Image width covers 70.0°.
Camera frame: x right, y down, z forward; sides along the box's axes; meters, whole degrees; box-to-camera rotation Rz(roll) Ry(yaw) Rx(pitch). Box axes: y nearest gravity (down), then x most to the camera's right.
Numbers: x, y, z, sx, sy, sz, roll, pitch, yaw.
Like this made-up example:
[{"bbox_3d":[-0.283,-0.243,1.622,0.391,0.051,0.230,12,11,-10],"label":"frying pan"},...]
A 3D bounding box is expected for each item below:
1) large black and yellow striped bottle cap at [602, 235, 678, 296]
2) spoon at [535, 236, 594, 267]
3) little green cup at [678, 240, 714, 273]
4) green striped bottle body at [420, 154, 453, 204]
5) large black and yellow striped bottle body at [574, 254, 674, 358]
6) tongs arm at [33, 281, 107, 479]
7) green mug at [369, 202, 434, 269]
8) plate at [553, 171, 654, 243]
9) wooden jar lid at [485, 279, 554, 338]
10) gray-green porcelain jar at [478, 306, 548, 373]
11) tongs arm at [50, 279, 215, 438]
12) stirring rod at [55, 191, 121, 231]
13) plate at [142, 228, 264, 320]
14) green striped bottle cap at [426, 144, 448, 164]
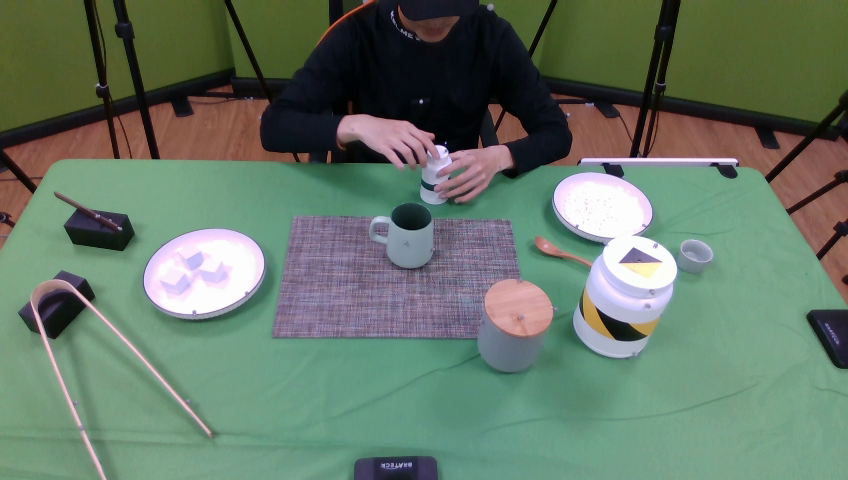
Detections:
[{"bbox_3d":[0.340,0.037,0.955,0.115,0.019,0.114,2,47,-1],"label":"large black and yellow striped bottle cap"},{"bbox_3d":[0.303,0.040,1.178,0.193,0.022,0.041,25,31,19],"label":"spoon"},{"bbox_3d":[0.530,0.033,1.190,0.061,0.039,0.061,2,46,-1],"label":"little green cup"},{"bbox_3d":[0.026,-0.137,1.261,0.063,0.120,0.063,2,46,-2],"label":"green striped bottle body"},{"bbox_3d":[0.335,0.096,1.014,0.131,0.185,0.130,2,46,-2],"label":"large black and yellow striped bottle body"},{"bbox_3d":[-0.517,0.214,0.910,0.051,0.026,0.383,-28,63,-27],"label":"tongs arm"},{"bbox_3d":[-0.042,-0.010,1.140,0.125,0.105,0.092,7,47,4],"label":"green mug"},{"bbox_3d":[0.373,-0.066,1.275,0.209,0.038,0.208,2,46,-2],"label":"plate"},{"bbox_3d":[0.147,0.108,0.940,0.108,0.021,0.107,4,48,-4],"label":"wooden jar lid"},{"bbox_3d":[0.144,0.148,0.989,0.106,0.127,0.105,2,50,-2],"label":"gray-green porcelain jar"},{"bbox_3d":[-0.459,0.178,0.949,0.386,0.028,0.028,37,60,17],"label":"tongs arm"},{"bbox_3d":[-0.632,-0.055,1.138,0.175,0.014,0.006,24,50,19],"label":"stirring rod"},{"bbox_3d":[-0.394,0.064,1.095,0.208,0.039,0.206,2,46,-2],"label":"plate"},{"bbox_3d":[0.027,-0.174,1.225,0.044,0.020,0.044,3,46,-3],"label":"green striped bottle cap"}]
